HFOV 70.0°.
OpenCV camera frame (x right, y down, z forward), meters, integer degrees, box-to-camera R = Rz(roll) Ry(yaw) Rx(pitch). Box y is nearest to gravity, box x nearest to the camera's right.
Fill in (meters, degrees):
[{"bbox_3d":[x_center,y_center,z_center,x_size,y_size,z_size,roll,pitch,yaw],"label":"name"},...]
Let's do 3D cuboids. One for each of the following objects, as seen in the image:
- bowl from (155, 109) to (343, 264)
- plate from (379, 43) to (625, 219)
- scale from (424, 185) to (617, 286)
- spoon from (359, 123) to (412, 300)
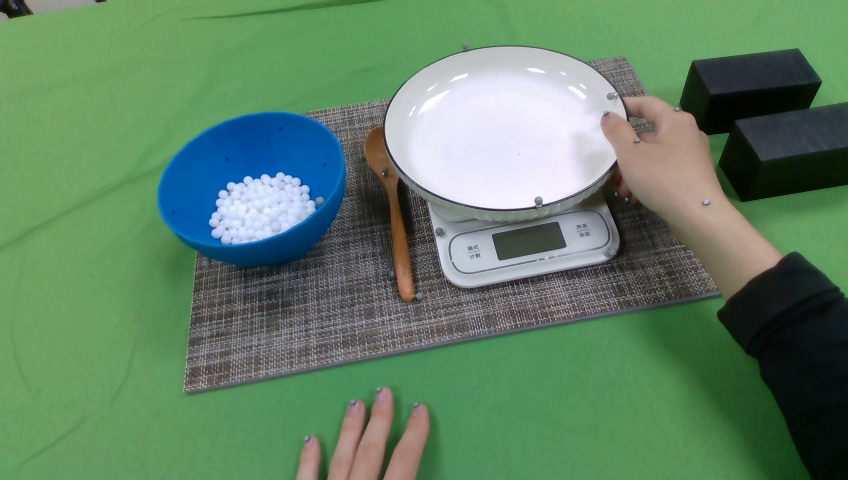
[{"bbox_3d":[-0.136,-0.032,0.513,0.151,0.077,0.150,-3,53,4],"label":"bowl"},{"bbox_3d":[0.065,-0.094,0.527,0.209,0.038,0.207,-2,53,4],"label":"plate"},{"bbox_3d":[0.072,-0.057,0.539,0.149,0.032,0.198,-11,53,-2],"label":"scale"},{"bbox_3d":[-0.031,-0.032,0.536,0.042,0.022,0.191,-1,52,-13],"label":"spoon"}]
